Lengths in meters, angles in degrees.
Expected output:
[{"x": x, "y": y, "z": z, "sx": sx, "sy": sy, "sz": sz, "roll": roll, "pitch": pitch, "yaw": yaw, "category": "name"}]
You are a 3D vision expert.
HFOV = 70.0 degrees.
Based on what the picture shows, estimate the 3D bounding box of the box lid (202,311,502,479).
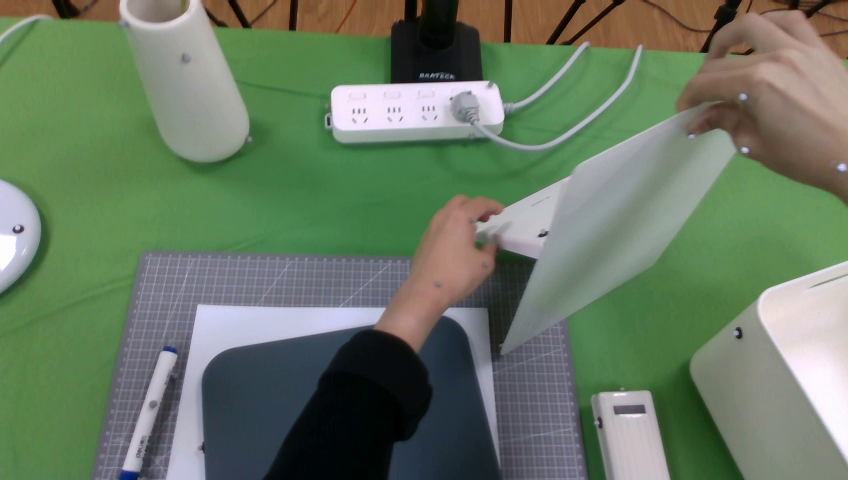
[{"x": -0.054, "y": 0.246, "z": 0.536, "sx": 0.264, "sy": 0.015, "sz": 0.368, "roll": -8, "pitch": 64, "yaw": -10, "category": "box lid"}]

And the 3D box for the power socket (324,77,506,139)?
[{"x": -0.009, "y": -0.163, "z": 0.744, "sx": 0.227, "sy": 0.033, "sz": 0.071, "roll": -3, "pitch": 64, "yaw": -8, "category": "power socket"}]

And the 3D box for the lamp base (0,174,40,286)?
[{"x": -0.484, "y": -0.046, "z": 0.552, "sx": 0.178, "sy": 0.181, "sz": 0.160, "roll": 31, "pitch": 63, "yaw": 14, "category": "lamp base"}]

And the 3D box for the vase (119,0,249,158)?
[{"x": -0.247, "y": -0.174, "z": 0.632, "sx": 0.098, "sy": 0.201, "sz": 0.097, "roll": 2, "pitch": 62, "yaw": -3, "category": "vase"}]

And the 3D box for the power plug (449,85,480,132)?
[{"x": 0.047, "y": -0.150, "z": 0.717, "sx": 0.035, "sy": 0.053, "sz": 0.072, "roll": 6, "pitch": 68, "yaw": -2, "category": "power plug"}]

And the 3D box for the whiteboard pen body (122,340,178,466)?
[{"x": -0.252, "y": 0.160, "z": 0.552, "sx": 0.017, "sy": 0.017, "sz": 0.139, "roll": 9, "pitch": 64, "yaw": 0, "category": "whiteboard pen body"}]

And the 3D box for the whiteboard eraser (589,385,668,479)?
[{"x": 0.193, "y": 0.195, "z": 0.572, "sx": 0.056, "sy": 0.042, "sz": 0.111, "roll": 0, "pitch": 62, "yaw": -8, "category": "whiteboard eraser"}]

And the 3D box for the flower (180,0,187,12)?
[{"x": -0.221, "y": -0.204, "z": 0.558, "sx": 0.038, "sy": 0.362, "sz": 0.044, "roll": 49, "pitch": 58, "yaw": 0, "category": "flower"}]

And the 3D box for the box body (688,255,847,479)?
[{"x": 0.436, "y": 0.199, "z": 0.524, "sx": 0.254, "sy": 0.161, "sz": 0.360, "roll": -15, "pitch": 65, "yaw": -13, "category": "box body"}]

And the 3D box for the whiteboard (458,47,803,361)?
[{"x": 0.143, "y": -0.056, "z": 0.555, "sx": 0.217, "sy": 0.308, "sz": 0.142, "roll": -26, "pitch": 62, "yaw": -18, "category": "whiteboard"}]

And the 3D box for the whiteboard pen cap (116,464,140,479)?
[{"x": -0.260, "y": 0.212, "z": 0.527, "sx": 0.018, "sy": 0.018, "sz": 0.033, "roll": 9, "pitch": 64, "yaw": 0, "category": "whiteboard pen cap"}]
